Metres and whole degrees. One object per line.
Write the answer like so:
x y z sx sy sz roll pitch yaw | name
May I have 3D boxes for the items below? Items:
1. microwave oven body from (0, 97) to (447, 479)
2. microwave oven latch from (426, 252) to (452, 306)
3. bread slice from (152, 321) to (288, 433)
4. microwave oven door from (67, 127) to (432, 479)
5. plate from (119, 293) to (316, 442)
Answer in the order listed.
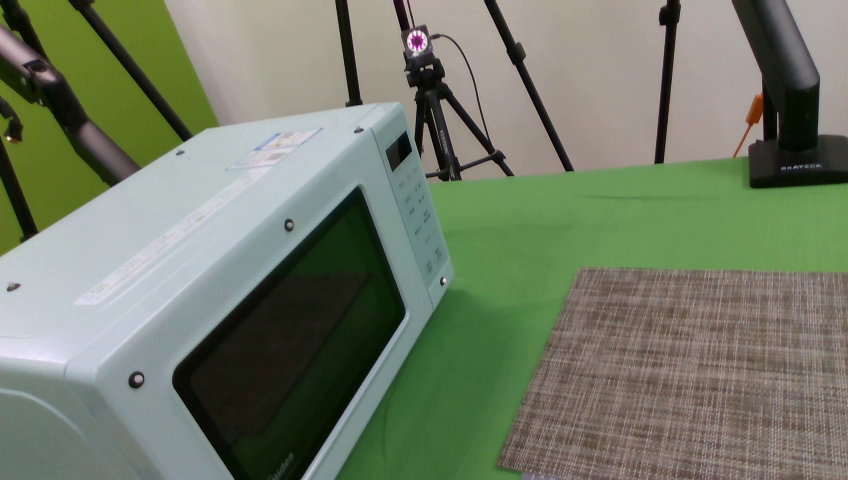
-0.215 0.068 0.638 0.324 0.262 0.439 -1 33 27 | microwave oven body
0.010 0.048 0.749 0.030 0.030 0.079 -1 33 28 | microwave oven latch
-0.210 0.135 0.637 0.104 0.019 0.131 6 40 35 | bread slice
-0.103 0.081 0.536 0.039 0.246 0.354 -2 32 28 | microwave oven door
-0.208 0.131 0.632 0.209 0.038 0.207 -15 28 8 | plate
